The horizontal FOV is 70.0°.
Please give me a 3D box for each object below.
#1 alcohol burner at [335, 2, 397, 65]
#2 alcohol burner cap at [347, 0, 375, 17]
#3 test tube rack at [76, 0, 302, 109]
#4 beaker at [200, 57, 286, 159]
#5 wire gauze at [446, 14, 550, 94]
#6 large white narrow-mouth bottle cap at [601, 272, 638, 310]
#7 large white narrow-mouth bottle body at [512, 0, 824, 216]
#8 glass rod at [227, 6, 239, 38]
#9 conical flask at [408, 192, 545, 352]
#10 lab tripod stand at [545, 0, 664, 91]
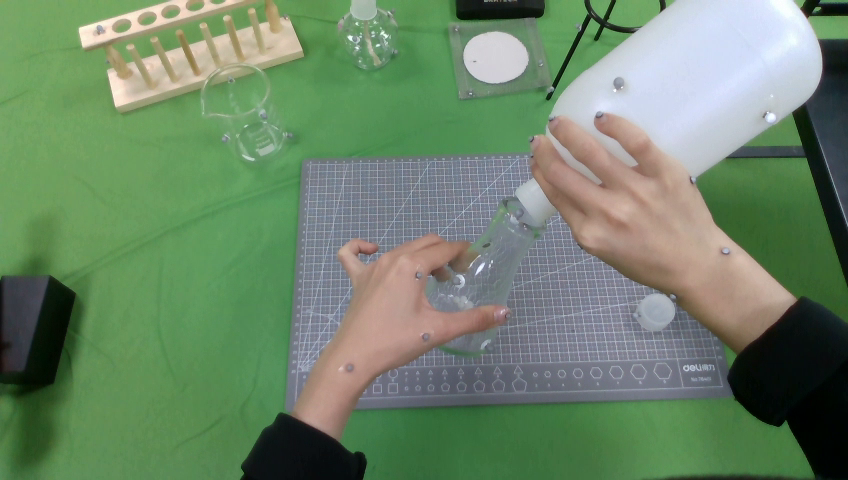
[{"bbox_3d":[-0.074,-0.277,0.752,0.078,0.120,0.077,0,63,0],"label":"alcohol burner"},{"bbox_3d":[-0.074,-0.294,0.719,0.034,0.048,0.033,4,64,-7],"label":"alcohol burner cap"},{"bbox_3d":[-0.285,-0.251,0.756,0.242,0.086,0.066,-20,67,-9],"label":"test tube rack"},{"bbox_3d":[-0.206,-0.145,0.699,0.084,0.101,0.073,-42,71,-17],"label":"beaker"},{"bbox_3d":[0.095,-0.249,0.795,0.121,0.011,0.124,-6,65,-4],"label":"wire gauze"},{"bbox_3d":[0.209,0.055,0.647,0.038,0.024,0.037,-1,64,2],"label":"large white narrow-mouth bottle cap"},{"bbox_3d":[0.145,-0.084,0.403,0.194,0.102,0.101,-37,67,14],"label":"large white narrow-mouth bottle body"},{"bbox_3d":[-0.239,-0.313,0.711,0.008,0.201,0.008,2,63,-4],"label":"glass rod"},{"bbox_3d":[0.044,0.021,0.457,0.076,0.122,0.074,21,33,-14],"label":"conical flask"},{"bbox_3d":[0.223,-0.241,0.722,0.148,0.132,0.147,1,64,-1],"label":"lab tripod stand"}]
